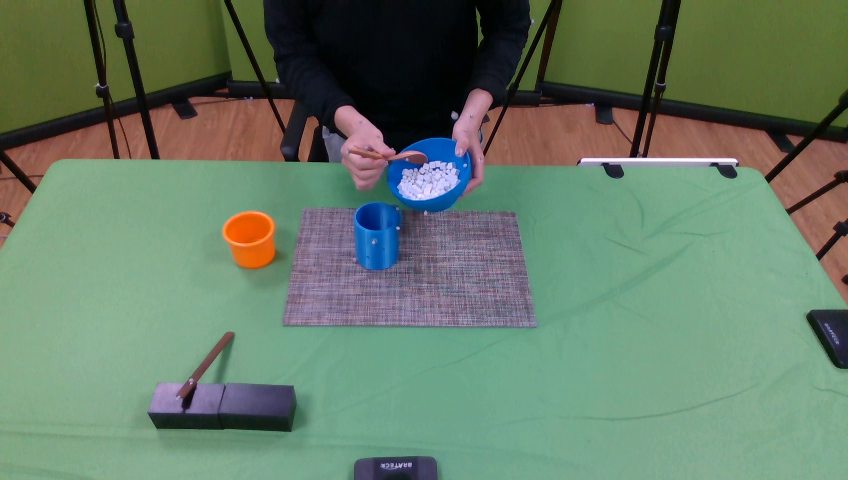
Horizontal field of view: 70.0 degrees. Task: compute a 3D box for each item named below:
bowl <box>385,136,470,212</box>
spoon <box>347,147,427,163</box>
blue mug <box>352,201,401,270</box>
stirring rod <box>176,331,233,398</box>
[{"bbox_3d":[0.014,-0.102,1.069,0.151,0.077,0.150,-9,51,12],"label":"bowl"},{"bbox_3d":[-0.060,-0.143,1.018,0.041,0.021,0.194,-7,1,35],"label":"spoon"},{"bbox_3d":[-0.082,-0.017,1.144,0.082,0.106,0.116,30,51,22],"label":"blue mug"},{"bbox_3d":[-0.342,0.192,0.955,0.014,0.006,0.175,3,24,7],"label":"stirring rod"}]
